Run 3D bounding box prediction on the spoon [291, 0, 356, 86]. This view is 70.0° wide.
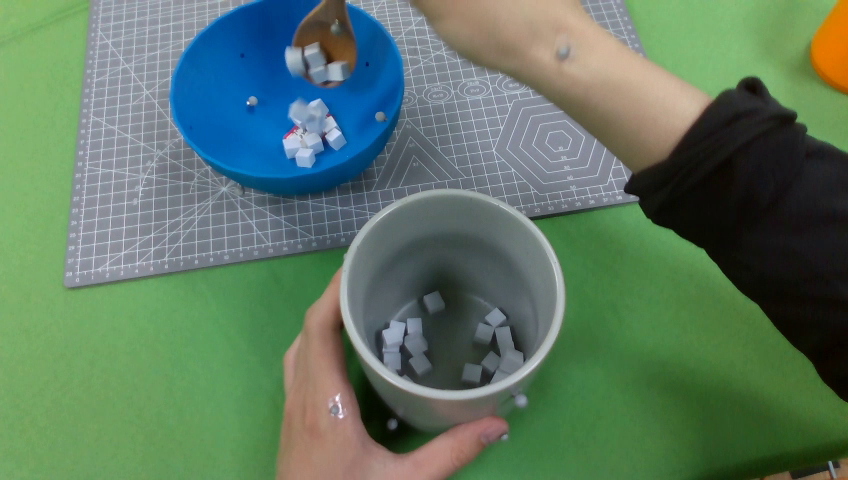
[{"bbox_3d":[-0.044,-0.142,0.323,0.042,0.194,0.021,17,69,-11],"label":"spoon"}]

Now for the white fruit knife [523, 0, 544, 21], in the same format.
[{"bbox_3d":[0.073,-0.286,0.515,0.016,0.027,0.206,-9,79,-5],"label":"white fruit knife"}]

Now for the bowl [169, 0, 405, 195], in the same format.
[{"bbox_3d":[-0.087,-0.087,0.422,0.151,0.077,0.150,0,65,0],"label":"bowl"}]

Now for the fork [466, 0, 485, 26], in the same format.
[{"bbox_3d":[0.025,-0.280,0.511,0.028,0.018,0.206,-12,83,-8],"label":"fork"}]

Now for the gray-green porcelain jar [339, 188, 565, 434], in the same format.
[{"bbox_3d":[0.014,0.048,0.335,0.106,0.127,0.105,0,64,1],"label":"gray-green porcelain jar"}]
